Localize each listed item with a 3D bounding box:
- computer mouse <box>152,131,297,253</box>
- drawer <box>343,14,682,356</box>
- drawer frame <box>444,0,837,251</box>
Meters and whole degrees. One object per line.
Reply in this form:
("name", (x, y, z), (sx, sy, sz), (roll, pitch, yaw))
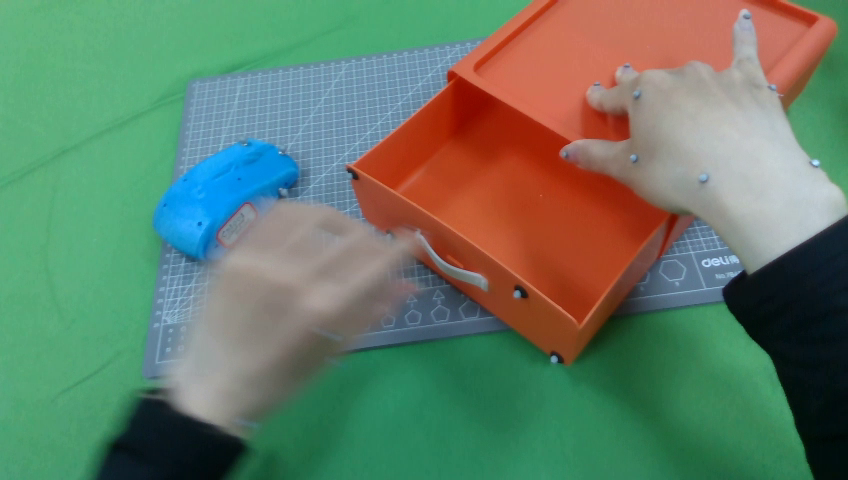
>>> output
("computer mouse", (-0.159, -0.045, 0.485), (0.062, 0.041, 0.117), (29, 62, 23))
("drawer", (0.086, -0.056, 0.437), (0.193, 0.074, 0.211), (36, 68, 25))
("drawer frame", (0.159, -0.128, 0.472), (0.200, 0.083, 0.213), (37, 69, 25))
